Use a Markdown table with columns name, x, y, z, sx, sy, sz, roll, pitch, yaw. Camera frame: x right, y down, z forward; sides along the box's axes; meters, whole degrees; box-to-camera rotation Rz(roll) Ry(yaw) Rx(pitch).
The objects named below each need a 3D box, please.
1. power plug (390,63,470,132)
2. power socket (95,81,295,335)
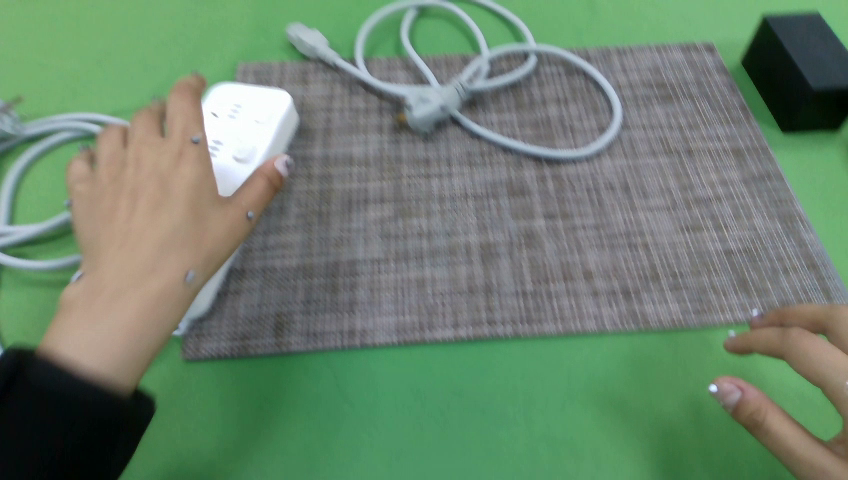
| name | x | y | z | sx | sy | sz | roll | pitch | yaw |
| --- | --- | --- | --- | --- | --- | --- | --- | --- | --- |
| power plug | 0.006 | -0.119 | 0.513 | 0.052 | 0.035 | 0.072 | 6 | 37 | 36 |
| power socket | -0.162 | -0.039 | 0.454 | 0.072 | 0.033 | 0.225 | 9 | 56 | 8 |
